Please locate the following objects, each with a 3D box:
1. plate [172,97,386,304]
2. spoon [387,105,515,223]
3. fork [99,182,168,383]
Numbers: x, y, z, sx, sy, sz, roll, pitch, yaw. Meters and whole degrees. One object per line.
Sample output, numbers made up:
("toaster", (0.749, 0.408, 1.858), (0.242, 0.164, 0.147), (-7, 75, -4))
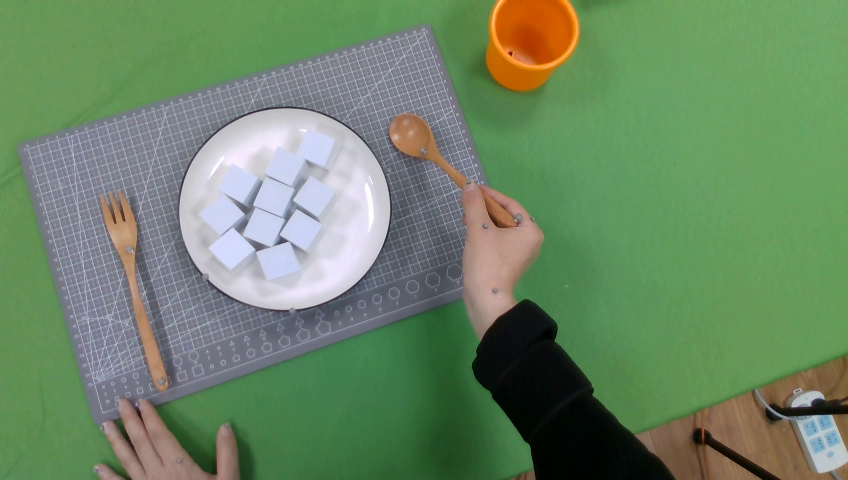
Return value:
("plate", (-0.142, -0.039, 0.614), (0.208, 0.039, 0.207), (1, 83, -4))
("spoon", (0.023, -0.076, 0.601), (0.041, 0.022, 0.191), (-48, 55, 8))
("fork", (-0.286, 0.042, 0.602), (0.028, 0.018, 0.206), (-16, 82, -12))
